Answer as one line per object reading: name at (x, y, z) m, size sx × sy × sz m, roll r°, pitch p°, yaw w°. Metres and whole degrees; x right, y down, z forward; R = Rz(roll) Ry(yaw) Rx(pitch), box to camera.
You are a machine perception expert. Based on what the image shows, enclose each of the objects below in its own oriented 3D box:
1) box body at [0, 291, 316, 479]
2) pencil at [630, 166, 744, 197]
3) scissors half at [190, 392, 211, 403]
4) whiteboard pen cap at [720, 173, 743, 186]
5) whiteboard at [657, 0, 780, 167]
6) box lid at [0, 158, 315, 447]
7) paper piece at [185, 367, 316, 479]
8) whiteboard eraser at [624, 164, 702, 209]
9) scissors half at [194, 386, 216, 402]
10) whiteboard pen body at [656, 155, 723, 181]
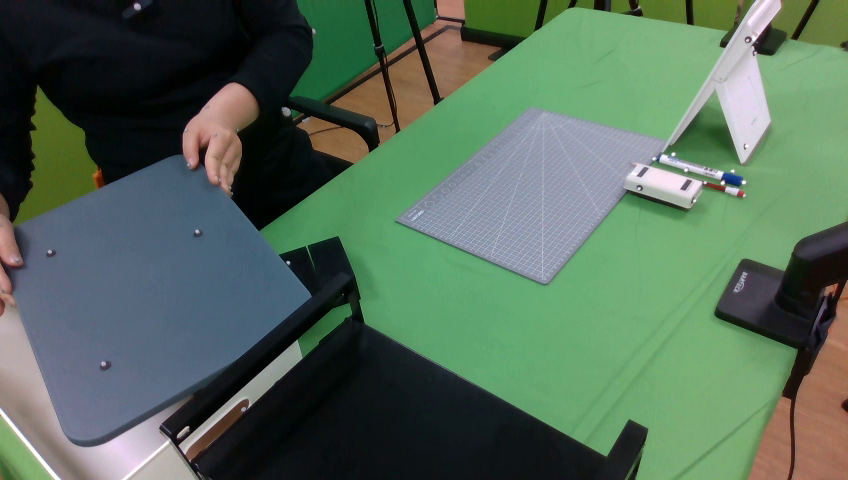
box body at (-0.339, 0.162, 0.728) m, size 0.361 × 0.161 × 0.255 m, roll 23°, pitch 48°, yaw 31°
pencil at (0.447, -0.103, 1.039) m, size 0.192 × 0.012 × 0.012 m, roll 21°, pitch 48°, yaw 30°
scissors half at (-0.336, 0.172, 0.822) m, size 0.174 × 0.013 × 0.040 m, roll 34°, pitch 56°, yaw 31°
whiteboard pen cap at (0.519, -0.103, 1.020) m, size 0.033 × 0.018 × 0.018 m, roll 23°, pitch 49°, yaw 30°
whiteboard at (0.571, -0.272, 1.038) m, size 0.143 × 0.306 × 0.218 m, roll 37°, pitch 54°, yaw 17°
box lid at (-0.319, 0.039, 0.698) m, size 0.264 × 0.015 × 0.368 m, roll -30°, pitch 51°, yaw -24°
paper piece at (-0.221, 0.234, 0.757) m, size 0.136 × 0.009 × 0.137 m, roll -39°, pitch 37°, yaw -23°
whiteboard eraser at (0.396, -0.087, 1.003) m, size 0.112 × 0.042 × 0.056 m, roll 22°, pitch 48°, yaw 31°
scissors half at (-0.348, 0.185, 0.810) m, size 0.174 × 0.013 × 0.040 m, roll 15°, pitch 53°, yaw 19°
whiteboard pen body at (0.475, -0.123, 1.052) m, size 0.139 × 0.017 × 0.017 m, roll 24°, pitch 50°, yaw 32°
